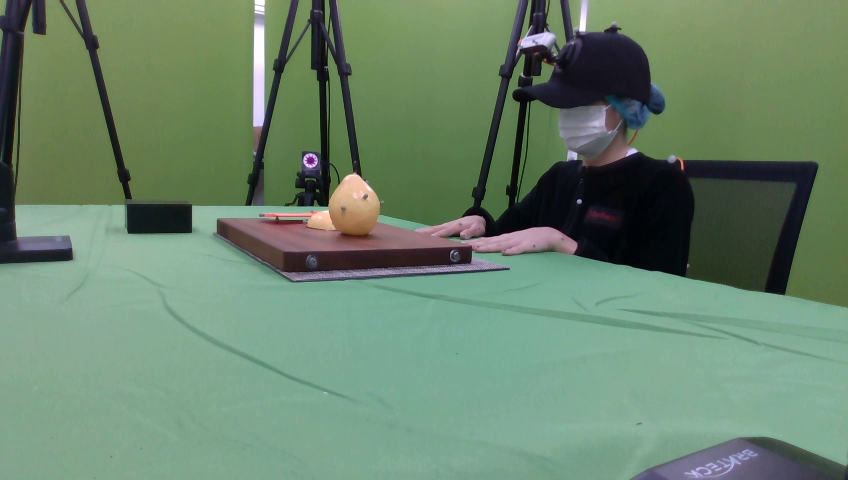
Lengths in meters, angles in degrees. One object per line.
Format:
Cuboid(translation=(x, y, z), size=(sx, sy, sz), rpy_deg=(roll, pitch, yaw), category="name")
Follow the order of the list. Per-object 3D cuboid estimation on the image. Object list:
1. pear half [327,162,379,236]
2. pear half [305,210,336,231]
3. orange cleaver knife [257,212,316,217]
Cuboid(translation=(-0.099, -0.060, 0.889), size=(0.077, 0.110, 0.055), rpy_deg=(-7, 12, -35), category="pear half")
Cuboid(translation=(-0.156, -0.032, 0.976), size=(0.071, 0.031, 0.087), rpy_deg=(-7, 7, -23), category="pear half")
Cuboid(translation=(-0.208, -0.044, 1.088), size=(0.077, 0.012, 0.212), rpy_deg=(3, 3, 31), category="orange cleaver knife")
